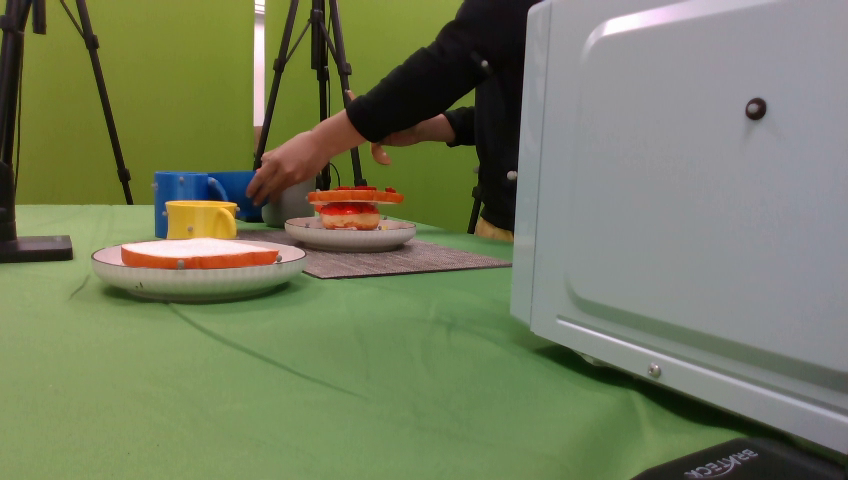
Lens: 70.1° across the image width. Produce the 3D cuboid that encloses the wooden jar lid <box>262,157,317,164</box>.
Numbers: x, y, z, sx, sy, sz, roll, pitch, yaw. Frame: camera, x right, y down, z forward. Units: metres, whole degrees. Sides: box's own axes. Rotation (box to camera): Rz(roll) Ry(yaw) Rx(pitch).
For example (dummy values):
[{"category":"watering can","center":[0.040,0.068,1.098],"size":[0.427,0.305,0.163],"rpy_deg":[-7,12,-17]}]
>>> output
[{"category":"wooden jar lid","center":[-0.269,-0.154,1.208],"size":[0.108,0.020,0.108],"rpy_deg":[3,4,0]}]

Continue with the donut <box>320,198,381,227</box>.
[{"category":"donut","center":[-0.117,-0.042,0.965],"size":[0.099,0.048,0.099],"rpy_deg":[-9,-7,-1]}]

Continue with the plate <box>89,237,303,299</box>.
[{"category":"plate","center":[-0.233,0.029,0.636],"size":[0.208,0.039,0.207],"rpy_deg":[2,7,0]}]

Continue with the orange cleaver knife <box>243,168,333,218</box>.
[{"category":"orange cleaver knife","center":[-0.300,-0.089,1.351],"size":[0.212,0.077,0.012],"rpy_deg":[28,-9,-34]}]

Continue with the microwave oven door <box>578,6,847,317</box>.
[{"category":"microwave oven door","center":[0.294,-0.067,0.570],"size":[0.358,0.243,0.039],"rpy_deg":[-3,9,-31]}]

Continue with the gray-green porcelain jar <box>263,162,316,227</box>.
[{"category":"gray-green porcelain jar","center":[-0.271,-0.092,1.218],"size":[0.106,0.126,0.106],"rpy_deg":[2,7,0]}]

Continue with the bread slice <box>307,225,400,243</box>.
[{"category":"bread slice","center":[-0.103,-0.010,0.962],"size":[0.131,0.019,0.105],"rpy_deg":[2,8,25]}]

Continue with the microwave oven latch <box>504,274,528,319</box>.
[{"category":"microwave oven latch","center":[0.100,0.041,0.471],"size":[0.079,0.029,0.030],"rpy_deg":[-1,7,-28]}]

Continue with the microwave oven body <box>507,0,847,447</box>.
[{"category":"microwave oven body","center":[0.331,-0.042,0.425],"size":[0.444,0.260,0.324],"rpy_deg":[-2,8,-31]}]

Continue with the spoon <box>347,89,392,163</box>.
[{"category":"spoon","center":[-0.117,-0.239,1.262],"size":[0.042,0.193,0.021],"rpy_deg":[-12,-18,-40]}]

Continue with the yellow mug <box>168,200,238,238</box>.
[{"category":"yellow mug","center":[-0.320,-0.023,0.904],"size":[0.130,0.064,0.100],"rpy_deg":[9,11,36]}]

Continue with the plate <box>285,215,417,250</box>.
[{"category":"plate","center":[-0.116,-0.014,0.964],"size":[0.209,0.038,0.209],"rpy_deg":[2,7,0]}]

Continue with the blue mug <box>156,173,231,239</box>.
[{"category":"blue mug","center":[-0.381,-0.057,1.004],"size":[0.117,0.106,0.082],"rpy_deg":[0,8,-12]}]

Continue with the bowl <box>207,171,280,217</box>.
[{"category":"bowl","center":[-0.335,-0.081,1.096],"size":[0.151,0.077,0.151],"rpy_deg":[-4,4,1]}]

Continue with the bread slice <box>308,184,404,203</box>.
[{"category":"bread slice","center":[-0.114,-0.072,0.953],"size":[0.134,0.018,0.107],"rpy_deg":[-2,-1,21]}]

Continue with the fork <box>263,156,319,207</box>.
[{"category":"fork","center":[-0.331,-0.144,1.505],"size":[0.207,0.018,0.028],"rpy_deg":[-42,-20,22]}]
